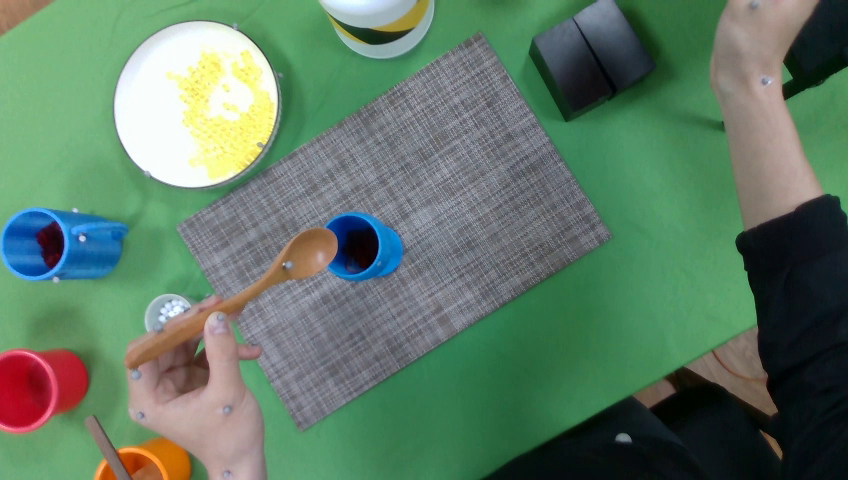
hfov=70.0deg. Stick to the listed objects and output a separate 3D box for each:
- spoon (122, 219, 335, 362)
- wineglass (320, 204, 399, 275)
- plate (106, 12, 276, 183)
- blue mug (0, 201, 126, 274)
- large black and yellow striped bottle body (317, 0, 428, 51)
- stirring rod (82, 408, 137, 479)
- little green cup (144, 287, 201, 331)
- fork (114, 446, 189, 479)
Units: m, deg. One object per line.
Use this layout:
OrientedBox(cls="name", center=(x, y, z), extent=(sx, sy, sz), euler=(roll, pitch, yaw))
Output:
OrientedBox(cls="spoon", center=(-0.130, 0.032, 0.439), extent=(0.021, 0.193, 0.042), euler=(13, 120, 25))
OrientedBox(cls="wineglass", center=(-0.069, 0.001, 0.661), extent=(0.074, 0.172, 0.073), euler=(0, 88, 4))
OrientedBox(cls="plate", center=(-0.282, -0.172, 0.747), extent=(0.209, 0.038, 0.209), euler=(0, 90, 3))
OrientedBox(cls="blue mug", center=(-0.416, -0.007, 0.719), extent=(0.116, 0.106, 0.082), euler=(-19, 88, 3))
OrientedBox(cls="large black and yellow striped bottle body", center=(-0.064, -0.300, 0.662), extent=(0.131, 0.184, 0.130), euler=(0, 89, 4))
OrientedBox(cls="stirring rod", center=(-0.337, 0.267, 0.686), extent=(0.014, 0.006, 0.176), euler=(-33, 88, 3))
OrientedBox(cls="little green cup", center=(-0.306, 0.088, 0.745), extent=(0.061, 0.038, 0.061), euler=(0, 90, 4))
OrientedBox(cls="fork", center=(-0.375, 0.287, 0.691), extent=(0.208, 0.018, 0.028), euler=(-16, 93, -40))
